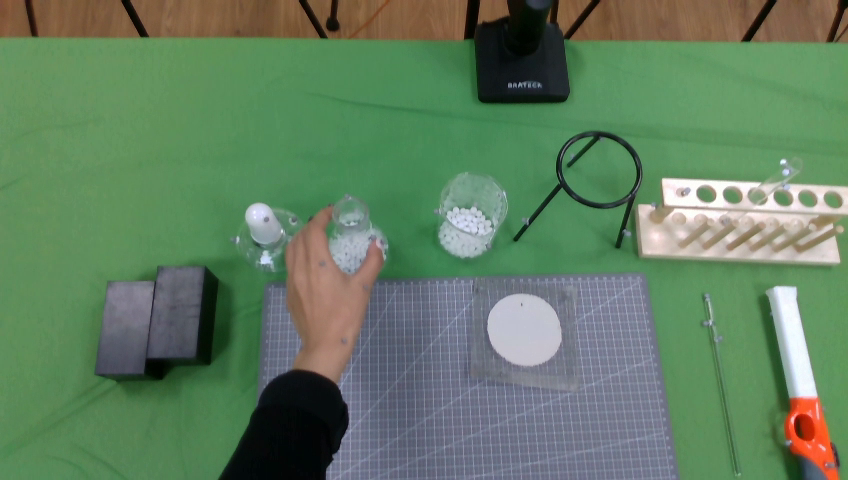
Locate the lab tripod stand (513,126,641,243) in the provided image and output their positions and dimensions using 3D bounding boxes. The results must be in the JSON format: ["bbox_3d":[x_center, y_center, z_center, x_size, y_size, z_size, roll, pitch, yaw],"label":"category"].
[{"bbox_3d":[0.176,-0.055,0.687,0.148,0.132,0.147,1,72,-2],"label":"lab tripod stand"}]

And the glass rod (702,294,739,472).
[{"bbox_3d":[0.335,0.157,0.686,0.008,0.008,0.198,0,70,-3],"label":"glass rod"}]

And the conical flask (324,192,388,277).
[{"bbox_3d":[-0.078,-0.010,0.665,0.075,0.122,0.075,1,70,-2],"label":"conical flask"}]

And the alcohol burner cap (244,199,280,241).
[{"bbox_3d":[-0.170,-0.024,0.632,0.034,0.048,0.033,1,65,-2],"label":"alcohol burner cap"}]

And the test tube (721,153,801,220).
[{"bbox_3d":[0.367,-0.055,0.669,0.017,0.151,0.017,0,70,1],"label":"test tube"}]

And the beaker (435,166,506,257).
[{"bbox_3d":[0.051,-0.025,0.689,0.074,0.101,0.083,-19,73,-8],"label":"beaker"}]

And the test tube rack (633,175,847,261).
[{"bbox_3d":[0.382,-0.024,0.711,0.242,0.085,0.066,2,70,-2],"label":"test tube rack"}]

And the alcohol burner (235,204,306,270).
[{"bbox_3d":[-0.172,-0.010,0.665,0.078,0.120,0.077,0,71,0],"label":"alcohol burner"}]

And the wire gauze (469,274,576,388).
[{"bbox_3d":[0.115,0.102,0.693,0.125,0.011,0.120,7,70,-3],"label":"wire gauze"}]

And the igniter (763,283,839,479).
[{"bbox_3d":[0.420,0.182,0.672,0.057,0.025,0.274,4,70,-11],"label":"igniter"}]
